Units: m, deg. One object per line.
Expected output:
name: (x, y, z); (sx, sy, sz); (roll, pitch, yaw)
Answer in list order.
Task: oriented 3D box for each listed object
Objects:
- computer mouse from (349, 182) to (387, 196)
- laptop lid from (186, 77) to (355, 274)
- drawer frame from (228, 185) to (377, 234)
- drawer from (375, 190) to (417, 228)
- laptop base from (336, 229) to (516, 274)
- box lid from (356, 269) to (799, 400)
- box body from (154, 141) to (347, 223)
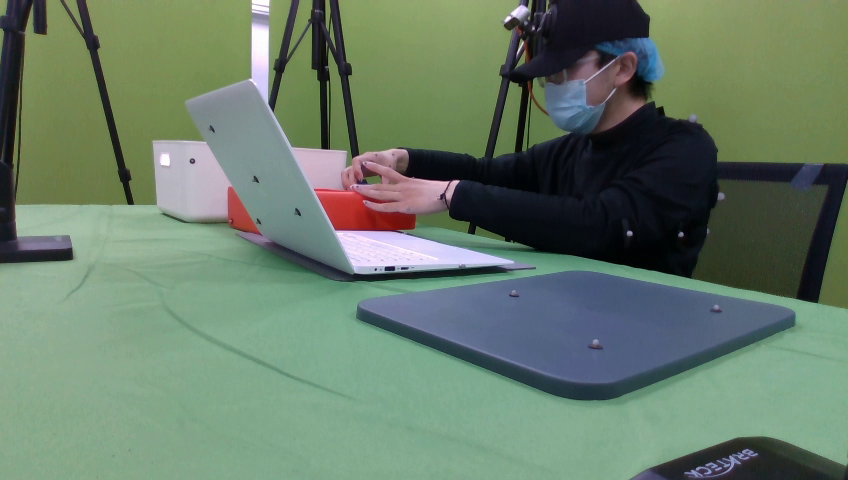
computer mouse: (-0.109, -0.088, 1.220); (0.063, 0.041, 0.116); (5, 22, -26)
laptop lid: (-0.211, -0.081, 0.772); (0.013, 0.242, 0.355); (-35, 25, -23)
drawer frame: (-0.229, -0.060, 1.136); (0.215, 0.082, 0.200); (-4, 9, -38)
drawer: (-0.152, -0.063, 1.194); (0.213, 0.073, 0.193); (-3, 8, -36)
laptop base: (-0.066, 0.014, 0.877); (0.237, 0.023, 0.352); (2, 6, -32)
box lid: (0.152, 0.068, 0.565); (0.374, 0.015, 0.262); (-4, 10, -41)
box body: (-0.384, -0.132, 1.346); (0.366, 0.160, 0.253); (-3, 9, -36)
